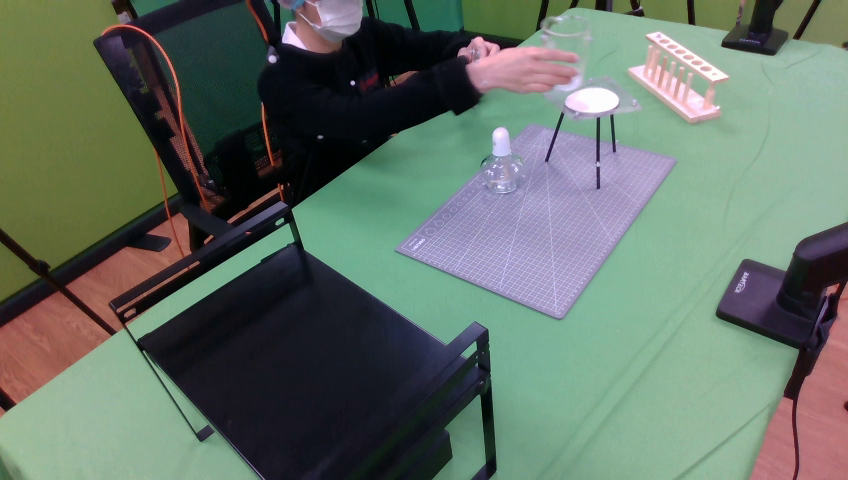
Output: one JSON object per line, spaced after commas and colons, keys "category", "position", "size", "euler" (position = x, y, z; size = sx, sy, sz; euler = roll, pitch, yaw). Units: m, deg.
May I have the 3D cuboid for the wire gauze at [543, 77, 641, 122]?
{"category": "wire gauze", "position": [0.282, -0.236, 1.020], "size": [0.125, 0.011, 0.120], "euler": [-15, 40, -6]}

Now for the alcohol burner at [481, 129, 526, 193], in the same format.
{"category": "alcohol burner", "position": [0.138, -0.142, 1.052], "size": [0.078, 0.119, 0.077], "euler": [-5, 42, 5]}

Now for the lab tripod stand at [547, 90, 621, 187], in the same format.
{"category": "lab tripod stand", "position": [0.289, -0.184, 1.062], "size": [0.148, 0.132, 0.147], "euler": [-6, 41, 6]}

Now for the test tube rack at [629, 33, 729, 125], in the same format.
{"category": "test tube rack", "position": [0.516, -0.337, 1.247], "size": [0.067, 0.085, 0.240], "euler": [-14, 41, -7]}

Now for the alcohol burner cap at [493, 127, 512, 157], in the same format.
{"category": "alcohol burner cap", "position": [0.132, -0.169, 1.029], "size": [0.034, 0.048, 0.033], "euler": [-7, 34, 5]}

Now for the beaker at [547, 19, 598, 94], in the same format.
{"category": "beaker", "position": [0.236, -0.298, 0.983], "size": [0.074, 0.100, 0.083], "euler": [-8, 43, -3]}

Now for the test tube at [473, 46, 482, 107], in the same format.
{"category": "test tube", "position": [0.105, -0.318, 1.190], "size": [0.017, 0.151, 0.017], "euler": [-1, 59, 2]}
